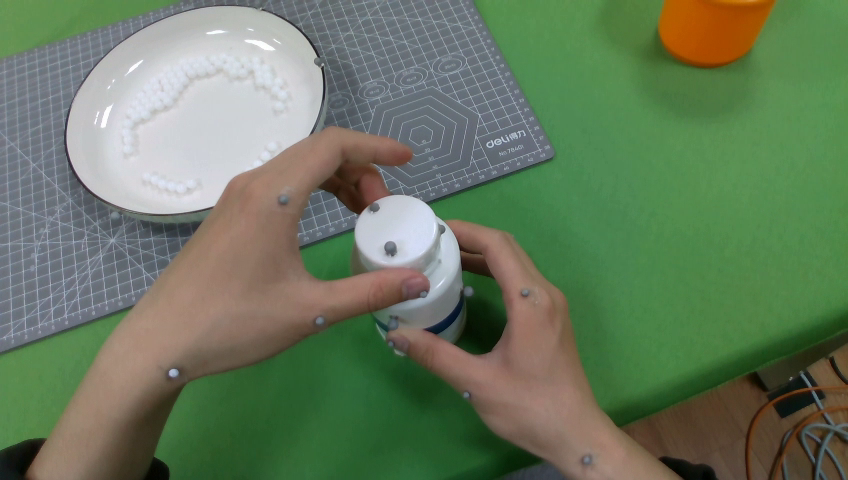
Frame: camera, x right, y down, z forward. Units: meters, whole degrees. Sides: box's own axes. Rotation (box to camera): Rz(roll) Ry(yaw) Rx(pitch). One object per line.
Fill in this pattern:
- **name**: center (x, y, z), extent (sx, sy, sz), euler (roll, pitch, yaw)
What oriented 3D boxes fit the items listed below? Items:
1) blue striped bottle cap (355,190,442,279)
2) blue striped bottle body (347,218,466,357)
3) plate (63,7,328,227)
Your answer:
- **blue striped bottle cap**: center (-0.013, -0.004, 0.314), extent (0.044, 0.021, 0.044), euler (-2, 64, 5)
- **blue striped bottle body**: center (-0.009, 0.024, 0.364), extent (0.063, 0.122, 0.062), euler (-3, 63, 6)
- **plate**: center (-0.177, -0.098, 0.486), extent (0.207, 0.039, 0.206), euler (-2, 63, 5)
